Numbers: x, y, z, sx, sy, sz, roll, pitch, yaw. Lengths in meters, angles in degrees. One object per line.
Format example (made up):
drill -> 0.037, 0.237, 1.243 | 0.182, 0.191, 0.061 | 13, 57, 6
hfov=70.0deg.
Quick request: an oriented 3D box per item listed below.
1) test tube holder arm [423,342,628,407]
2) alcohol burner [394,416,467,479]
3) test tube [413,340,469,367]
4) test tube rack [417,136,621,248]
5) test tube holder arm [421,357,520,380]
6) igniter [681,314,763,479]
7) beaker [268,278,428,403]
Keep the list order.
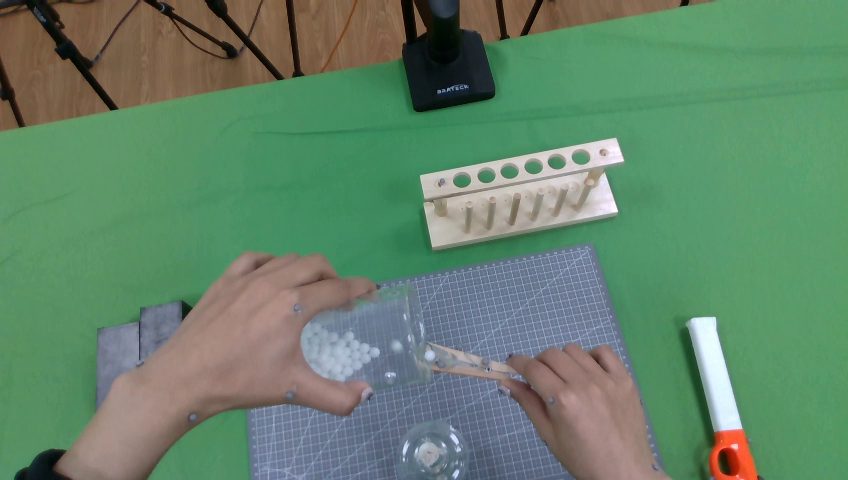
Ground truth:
test tube holder arm -> 0.084, 0.114, 0.522 | 0.178, 0.015, 0.013 | 11, 82, 16
alcohol burner -> 0.006, 0.220, 0.626 | 0.078, 0.120, 0.077 | -1, 65, 2
test tube -> 0.018, 0.105, 0.537 | 0.017, 0.151, 0.017 | -4, 73, 15
test tube rack -> 0.119, -0.058, 0.756 | 0.242, 0.086, 0.066 | -11, 67, -1
test tube holder arm -> 0.041, 0.113, 0.533 | 0.087, 0.015, 0.010 | 4, 80, 15
igniter -> 0.329, 0.215, 0.660 | 0.057, 0.025, 0.274 | -1, 67, -8
beaker -> -0.053, 0.076, 0.439 | 0.100, 0.085, 0.073 | -13, 57, 5
